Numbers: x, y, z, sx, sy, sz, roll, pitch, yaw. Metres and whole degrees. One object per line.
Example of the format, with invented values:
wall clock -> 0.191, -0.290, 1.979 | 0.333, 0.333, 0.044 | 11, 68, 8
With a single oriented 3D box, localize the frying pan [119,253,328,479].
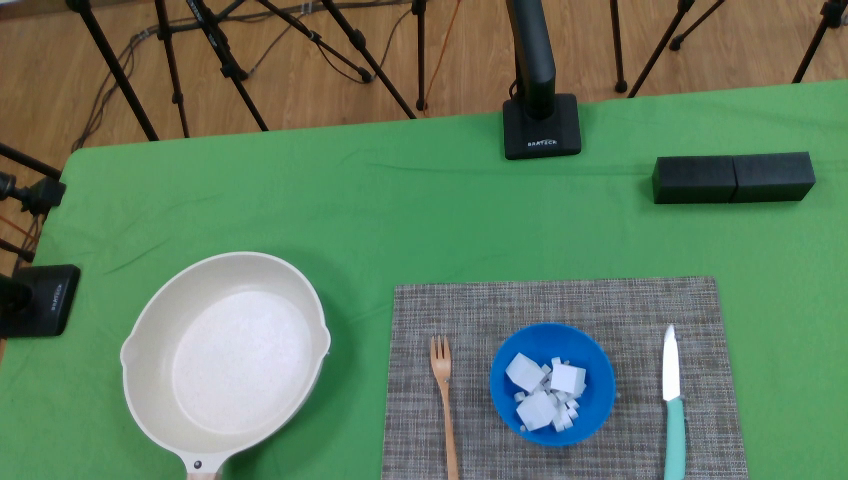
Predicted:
frying pan -> -0.280, 0.247, 0.805 | 0.306, 0.104, 0.483 | -3, 55, 10

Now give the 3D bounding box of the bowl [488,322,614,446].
bowl -> 0.158, 0.187, 0.765 | 0.151, 0.077, 0.150 | -4, 63, 8

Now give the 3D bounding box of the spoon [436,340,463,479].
spoon -> 0.032, 0.227, 0.800 | 0.041, 0.022, 0.192 | -9, 60, 22

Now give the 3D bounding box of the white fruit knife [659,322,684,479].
white fruit knife -> 0.312, 0.201, 0.765 | 0.027, 0.016, 0.206 | 8, 65, 2
